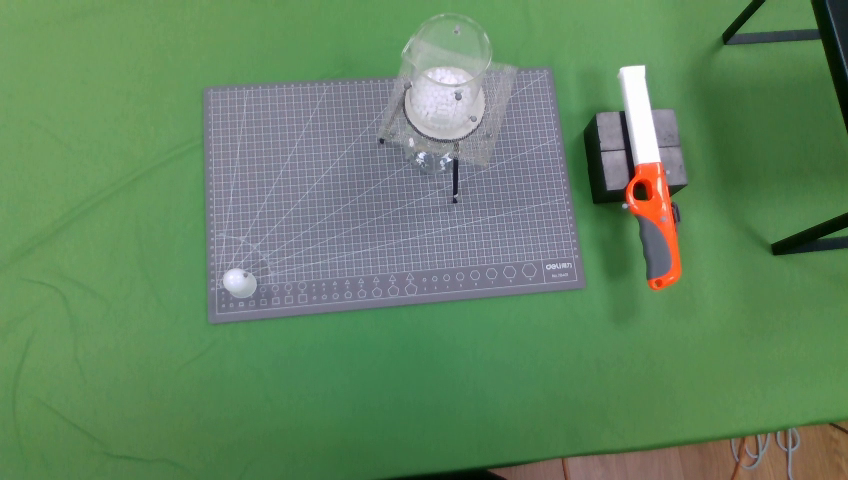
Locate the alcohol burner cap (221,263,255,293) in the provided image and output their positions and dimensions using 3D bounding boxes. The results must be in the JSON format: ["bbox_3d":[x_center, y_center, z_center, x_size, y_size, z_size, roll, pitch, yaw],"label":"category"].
[{"bbox_3d":[-0.215,0.041,0.693,0.034,0.048,0.033,1,76,-4],"label":"alcohol burner cap"}]

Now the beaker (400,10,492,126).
[{"bbox_3d":[0.017,-0.162,0.592,0.084,0.100,0.073,-4,75,-5],"label":"beaker"}]

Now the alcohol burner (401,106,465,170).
[{"bbox_3d":[0.011,-0.127,0.711,0.078,0.119,0.077,1,78,-3],"label":"alcohol burner"}]

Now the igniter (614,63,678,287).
[{"bbox_3d":[0.262,-0.082,0.719,0.057,0.025,0.275,-5,77,1],"label":"igniter"}]

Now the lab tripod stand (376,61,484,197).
[{"bbox_3d":[0.017,-0.138,0.704,0.148,0.132,0.147,1,75,-3],"label":"lab tripod stand"}]

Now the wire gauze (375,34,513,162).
[{"bbox_3d":[0.024,-0.150,0.640,0.121,0.011,0.124,18,73,-2],"label":"wire gauze"}]
